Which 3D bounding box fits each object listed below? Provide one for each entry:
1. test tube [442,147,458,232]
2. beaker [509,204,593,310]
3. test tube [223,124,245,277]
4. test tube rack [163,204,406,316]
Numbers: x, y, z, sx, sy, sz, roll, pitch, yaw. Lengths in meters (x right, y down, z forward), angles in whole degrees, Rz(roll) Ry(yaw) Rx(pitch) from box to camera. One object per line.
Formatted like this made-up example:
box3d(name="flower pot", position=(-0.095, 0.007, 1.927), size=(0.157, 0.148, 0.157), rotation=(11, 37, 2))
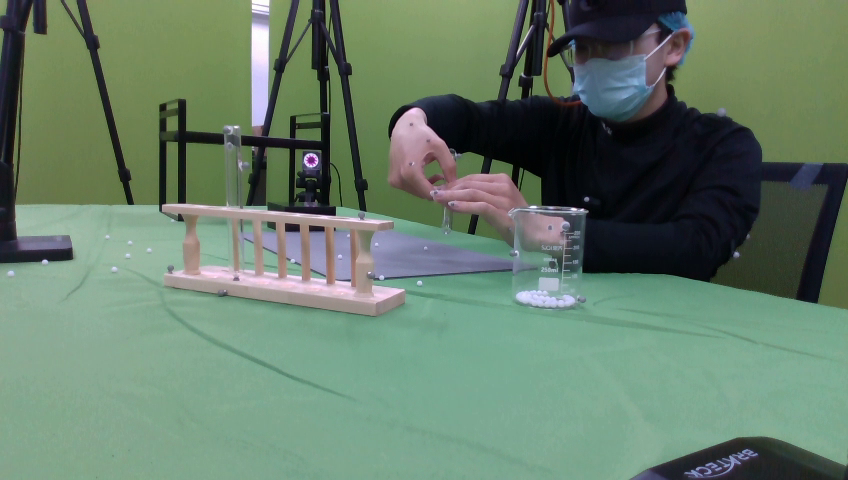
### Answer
box3d(name="test tube", position=(0.035, -0.071, 0.831), size=(0.017, 0.150, 0.017), rotation=(3, -37, 3))
box3d(name="beaker", position=(0.125, 0.016, 0.613), size=(0.084, 0.100, 0.074), rotation=(1, 7, -5))
box3d(name="test tube", position=(-0.185, -0.037, 0.592), size=(0.017, 0.150, 0.017), rotation=(1, 11, 0))
box3d(name="test tube rack", position=(-0.141, 0.013, 0.601), size=(0.241, 0.085, 0.067), rotation=(5, 8, 21))
